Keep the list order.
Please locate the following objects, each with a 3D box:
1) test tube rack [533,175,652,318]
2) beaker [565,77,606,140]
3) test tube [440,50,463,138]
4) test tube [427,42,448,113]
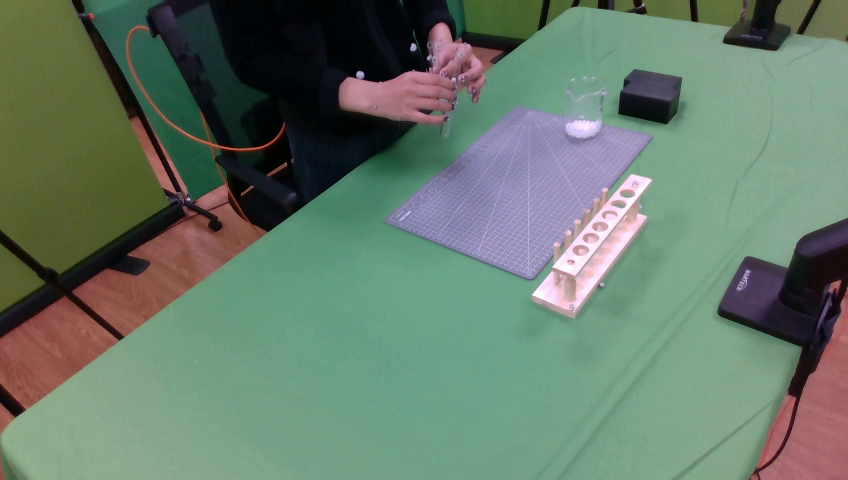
[{"bbox_3d":[0.250,-0.001,0.889,0.066,0.085,0.243,22,49,33],"label":"test tube rack"},{"bbox_3d":[0.304,-0.247,1.153,0.073,0.101,0.084,15,47,27],"label":"beaker"},{"bbox_3d":[0.046,-0.243,1.020,0.017,0.150,0.017,8,28,-4],"label":"test tube"},{"bbox_3d":[0.024,-0.270,1.021,0.017,0.151,0.017,-5,56,8],"label":"test tube"}]
